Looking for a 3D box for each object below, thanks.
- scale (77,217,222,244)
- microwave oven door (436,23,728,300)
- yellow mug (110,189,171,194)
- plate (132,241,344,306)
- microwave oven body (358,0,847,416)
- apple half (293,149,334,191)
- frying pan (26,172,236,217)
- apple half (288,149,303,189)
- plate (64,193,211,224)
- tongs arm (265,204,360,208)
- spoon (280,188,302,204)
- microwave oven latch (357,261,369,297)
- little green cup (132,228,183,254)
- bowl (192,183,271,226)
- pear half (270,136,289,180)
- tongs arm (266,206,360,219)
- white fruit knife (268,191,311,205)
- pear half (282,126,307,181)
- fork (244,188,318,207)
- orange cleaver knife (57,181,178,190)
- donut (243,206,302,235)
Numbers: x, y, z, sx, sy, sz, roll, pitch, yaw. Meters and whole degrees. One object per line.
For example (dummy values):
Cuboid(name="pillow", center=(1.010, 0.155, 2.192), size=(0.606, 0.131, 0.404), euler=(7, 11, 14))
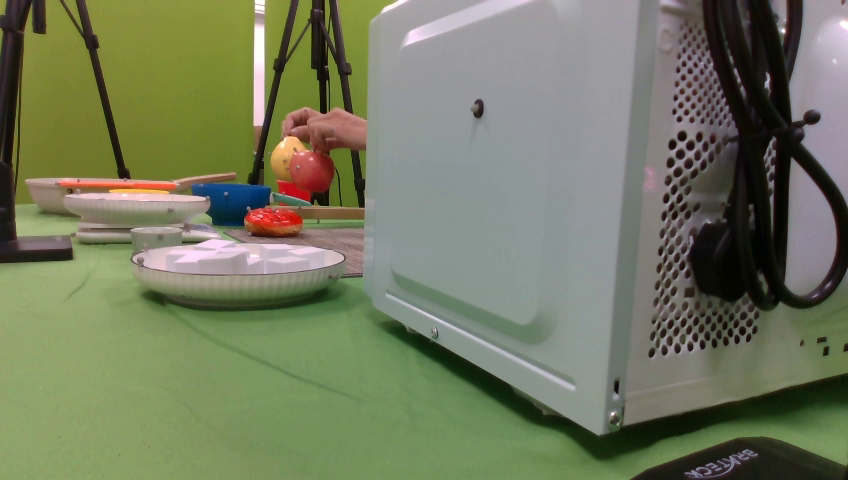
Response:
Cuboid(name="scale", center=(-0.434, -0.018, 0.963), size=(0.202, 0.031, 0.148), euler=(-1, 8, -27))
Cuboid(name="microwave oven door", center=(0.180, -0.073, 0.621), size=(0.358, 0.243, 0.039), euler=(-2, 9, -29))
Cuboid(name="yellow mug", center=(-0.519, -0.055, 1.080), size=(0.099, 0.064, 0.131), euler=(7, 10, 26))
Cuboid(name="plate", center=(-0.187, 0.033, 0.625), size=(0.208, 0.039, 0.207), euler=(2, 7, 0))
Cuboid(name="microwave oven body", center=(0.211, -0.047, 0.474), size=(0.444, 0.260, 0.324), euler=(-1, 7, -28))
Cuboid(name="apple half", center=(-0.193, -0.125, 1.092), size=(0.053, 0.074, 0.081), euler=(10, 2, 21))
Cuboid(name="frying pan", center=(-0.624, -0.118, 1.387), size=(0.305, 0.102, 0.490), euler=(8, 17, 32))
Cuboid(name="apple half", center=(-0.229, -0.131, 1.105), size=(0.032, 0.081, 0.081), euler=(10, 10, 21))
Cuboid(name="plate", center=(-0.446, -0.050, 0.951), size=(0.209, 0.038, 0.209), euler=(2, 7, 0))
Cuboid(name="tongs arm", center=(-0.210, -0.069, 1.439), size=(0.389, 0.027, 0.028), euler=(1, 0, -17))
Cuboid(name="spoon", center=(-0.316, -0.159, 1.640), size=(0.194, 0.022, 0.041), euler=(-50, 32, -20))
Cuboid(name="microwave oven latch", center=(-0.019, 0.033, 0.530), size=(0.079, 0.029, 0.030), euler=(-1, 7, -26))
Cuboid(name="little green cup", center=(-0.342, 0.006, 0.779), size=(0.061, 0.038, 0.061), euler=(2, 8, 0))
Cuboid(name="bowl", center=(-0.382, -0.071, 1.202), size=(0.151, 0.077, 0.151), euler=(3, 7, 0))
Cuboid(name="pear half", center=(-0.286, -0.163, 1.192), size=(0.031, 0.088, 0.070), euler=(3, 3, -29))
Cuboid(name="tongs arm", center=(-0.174, -0.061, 1.362), size=(0.387, 0.026, 0.050), euler=(-1, 4, -31))
Cuboid(name="white fruit knife", center=(-0.364, -0.105, 1.464), size=(0.208, 0.027, 0.016), euler=(15, -1, -34))
Cuboid(name="pear half", center=(-0.254, -0.172, 1.208), size=(0.056, 0.109, 0.076), euler=(1, 5, -28))
Cuboid(name="fork", center=(-0.356, -0.105, 1.526), size=(0.208, 0.018, 0.028), euler=(16, -5, -41))
Cuboid(name="orange cleaver knife", center=(-0.600, -0.109, 1.189), size=(0.212, 0.012, 0.077), euler=(-1, 11, -26))
Cuboid(name="donut", center=(-0.261, -0.032, 1.043), size=(0.099, 0.048, 0.099), euler=(4, 10, 0))
